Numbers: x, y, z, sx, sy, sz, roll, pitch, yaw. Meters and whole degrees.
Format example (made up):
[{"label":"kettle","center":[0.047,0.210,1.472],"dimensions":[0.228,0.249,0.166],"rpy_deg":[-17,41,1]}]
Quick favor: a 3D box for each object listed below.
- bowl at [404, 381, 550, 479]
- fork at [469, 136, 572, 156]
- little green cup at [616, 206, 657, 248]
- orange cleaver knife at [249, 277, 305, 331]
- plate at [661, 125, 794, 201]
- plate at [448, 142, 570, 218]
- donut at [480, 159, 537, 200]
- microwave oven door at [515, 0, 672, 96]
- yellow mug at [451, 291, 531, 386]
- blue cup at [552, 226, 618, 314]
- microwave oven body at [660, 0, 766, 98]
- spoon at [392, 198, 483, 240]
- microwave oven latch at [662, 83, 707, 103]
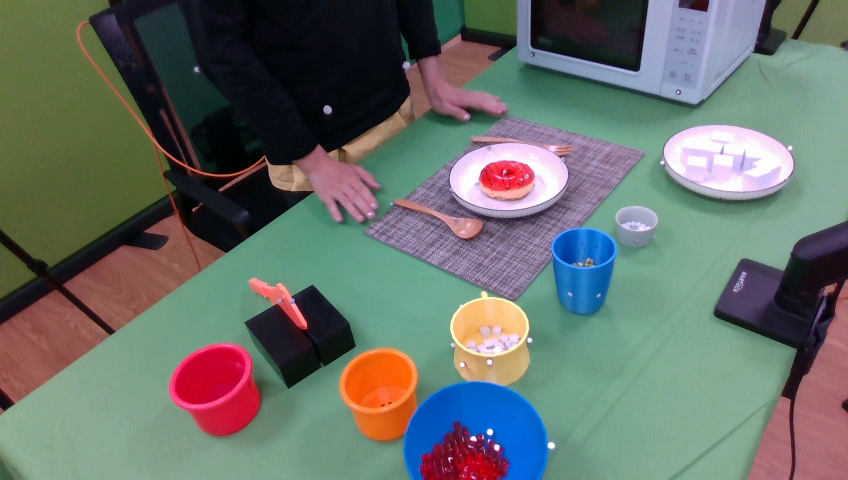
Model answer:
[{"label":"bowl","center":[0.058,0.235,0.645],"dimensions":[0.151,0.077,0.150],"rpy_deg":[-4,39,4]},{"label":"fork","center":[0.181,-0.184,1.160],"dimensions":[0.206,0.019,0.028],"rpy_deg":[13,60,21]},{"label":"little green cup","center":[0.327,-0.019,0.935],"dimensions":[0.061,0.039,0.061],"rpy_deg":[-4,40,4]},{"label":"orange cleaver knife","center":[-0.210,0.088,0.856],"dimensions":[0.012,0.077,0.210],"rpy_deg":[-28,15,-25]},{"label":"plate","center":[0.513,-0.128,1.035],"dimensions":[0.207,0.039,0.206],"rpy_deg":[-4,40,4]},{"label":"plate","center":[0.148,-0.101,1.053],"dimensions":[0.209,0.038,0.208],"rpy_deg":[-4,40,4]},{"label":"donut","center":[0.145,-0.106,1.042],"dimensions":[0.099,0.048,0.098],"rpy_deg":[-4,38,4]},{"label":"microwave oven door","center":[0.344,-0.455,1.259],"dimensions":[0.353,0.245,0.039],"rpy_deg":[26,51,33]},{"label":"yellow mug","center":[0.085,0.120,0.786],"dimensions":[0.100,0.064,0.130],"rpy_deg":[-7,39,1]},{"label":"blue cup","center":[0.218,0.047,0.826],"dimensions":[0.092,0.100,0.092],"rpy_deg":[-6,40,5]},{"label":"microwave oven body","center":[0.473,-0.513,1.317],"dimensions":[0.438,0.261,0.327],"rpy_deg":[26,51,34]},{"label":"spoon","center":[0.018,-0.042,1.016],"dimensions":[0.192,0.022,0.041],"rpy_deg":[24,73,31]},{"label":"microwave oven latch","center":[0.517,-0.296,1.204],"dimensions":[0.078,0.029,0.030],"rpy_deg":[27,52,35]}]
